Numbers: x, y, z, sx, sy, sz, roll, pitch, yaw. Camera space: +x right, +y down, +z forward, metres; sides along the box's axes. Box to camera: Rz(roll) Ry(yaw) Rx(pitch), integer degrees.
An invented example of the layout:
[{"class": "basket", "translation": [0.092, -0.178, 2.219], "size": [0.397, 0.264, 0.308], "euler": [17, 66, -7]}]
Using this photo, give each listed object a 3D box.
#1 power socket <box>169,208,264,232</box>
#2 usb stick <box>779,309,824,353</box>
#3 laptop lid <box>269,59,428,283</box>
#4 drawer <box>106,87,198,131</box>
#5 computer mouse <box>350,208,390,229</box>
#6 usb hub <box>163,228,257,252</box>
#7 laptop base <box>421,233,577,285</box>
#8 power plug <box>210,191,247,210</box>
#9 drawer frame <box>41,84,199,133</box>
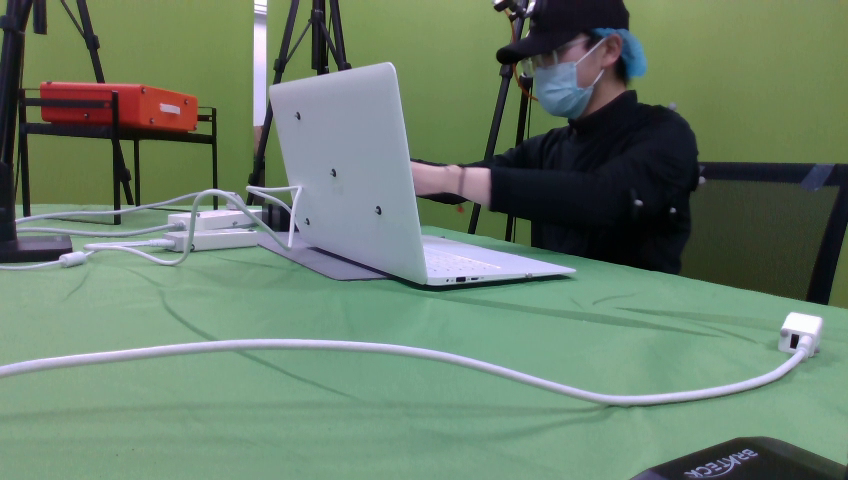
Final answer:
[{"class": "power socket", "translation": [-0.381, -0.038, 1.128], "size": [0.072, 0.032, 0.227], "euler": [4, 8, 17]}, {"class": "usb stick", "translation": [0.311, 0.072, 0.496], "size": [0.027, 0.021, 0.059], "euler": [8, 15, 34]}, {"class": "laptop lid", "translation": [-0.110, -0.087, 0.752], "size": [0.013, 0.241, 0.355], "euler": [-18, 19, -30]}, {"class": "drawer", "translation": [-0.602, -0.263, 1.225], "size": [0.211, 0.073, 0.195], "euler": [3, 8, 10]}, {"class": "computer mouse", "translation": [-0.111, -0.044, 1.231], "size": [0.063, 0.041, 0.117], "euler": [-3, 2, -18]}, {"class": "usb hub", "translation": [-0.314, 0.000, 0.894], "size": [0.049, 0.025, 0.126], "euler": [9, 11, 41]}, {"class": "laptop base", "translation": [0.007, 0.022, 0.850], "size": [0.237, 0.023, 0.352], "euler": [1, 7, -34]}, {"class": "power plug", "translation": [-0.386, -0.071, 1.204], "size": [0.072, 0.052, 0.035], "euler": [8, 11, 25]}, {"class": "drawer frame", "translation": [-0.604, -0.264, 1.225], "size": [0.213, 0.082, 0.202], "euler": [3, 8, 8]}]
